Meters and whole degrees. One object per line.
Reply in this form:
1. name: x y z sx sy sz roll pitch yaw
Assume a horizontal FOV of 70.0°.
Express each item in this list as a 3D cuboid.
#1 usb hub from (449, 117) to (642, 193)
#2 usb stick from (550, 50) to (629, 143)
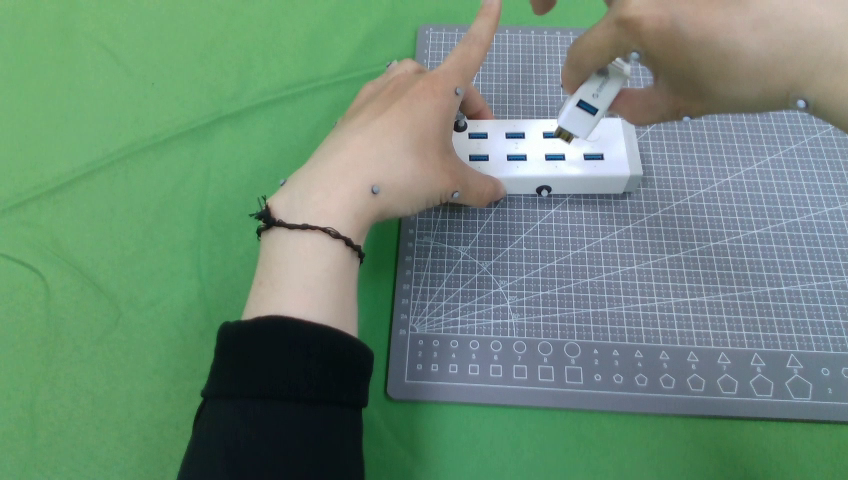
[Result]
1. usb hub: 0.079 -0.058 0.410 0.125 0.025 0.049 0 62 1
2. usb stick: 0.095 -0.081 0.360 0.021 0.059 0.027 32 38 -2
